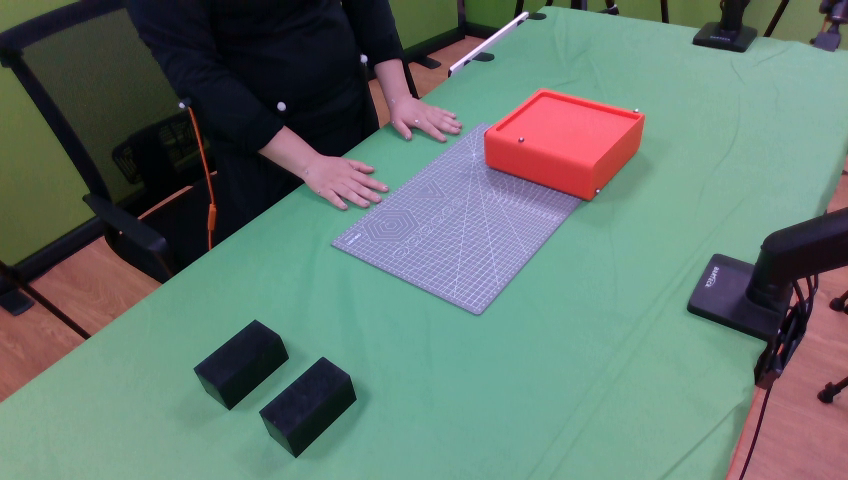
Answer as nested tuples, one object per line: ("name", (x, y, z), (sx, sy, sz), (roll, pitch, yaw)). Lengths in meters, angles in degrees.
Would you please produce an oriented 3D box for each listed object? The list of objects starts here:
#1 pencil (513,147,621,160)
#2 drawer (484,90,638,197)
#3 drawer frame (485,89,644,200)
("pencil", (0.259, -0.156, 1.101), (0.194, 0.012, 0.012), (-4, 40, 3))
("drawer", (0.248, -0.180, 1.097), (0.210, 0.073, 0.195), (25, 49, 31))
("drawer frame", (0.253, -0.180, 1.094), (0.212, 0.083, 0.202), (24, 48, 31))
